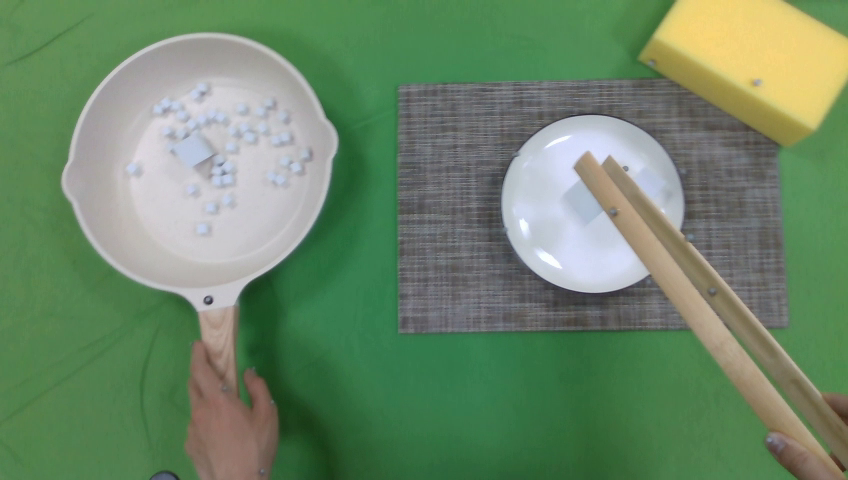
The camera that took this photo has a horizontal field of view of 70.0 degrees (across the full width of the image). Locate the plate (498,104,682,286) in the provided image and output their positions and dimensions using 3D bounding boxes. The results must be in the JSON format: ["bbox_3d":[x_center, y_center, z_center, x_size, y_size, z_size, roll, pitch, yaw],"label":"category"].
[{"bbox_3d":[0.187,-0.050,0.699,0.207,0.039,0.207,0,84,1],"label":"plate"}]

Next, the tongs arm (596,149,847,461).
[{"bbox_3d":[0.260,0.061,0.525,0.051,0.026,0.381,-11,57,-40],"label":"tongs arm"}]

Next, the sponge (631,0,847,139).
[{"bbox_3d":[0.367,-0.225,0.703,0.206,0.061,0.118,32,84,6],"label":"sponge"}]

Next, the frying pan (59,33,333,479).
[{"bbox_3d":[-0.235,0.012,0.672,0.307,0.103,0.485,-9,76,1],"label":"frying pan"}]

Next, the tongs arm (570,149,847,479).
[{"bbox_3d":[0.239,0.064,0.510,0.028,0.028,0.383,-5,53,-40],"label":"tongs arm"}]
